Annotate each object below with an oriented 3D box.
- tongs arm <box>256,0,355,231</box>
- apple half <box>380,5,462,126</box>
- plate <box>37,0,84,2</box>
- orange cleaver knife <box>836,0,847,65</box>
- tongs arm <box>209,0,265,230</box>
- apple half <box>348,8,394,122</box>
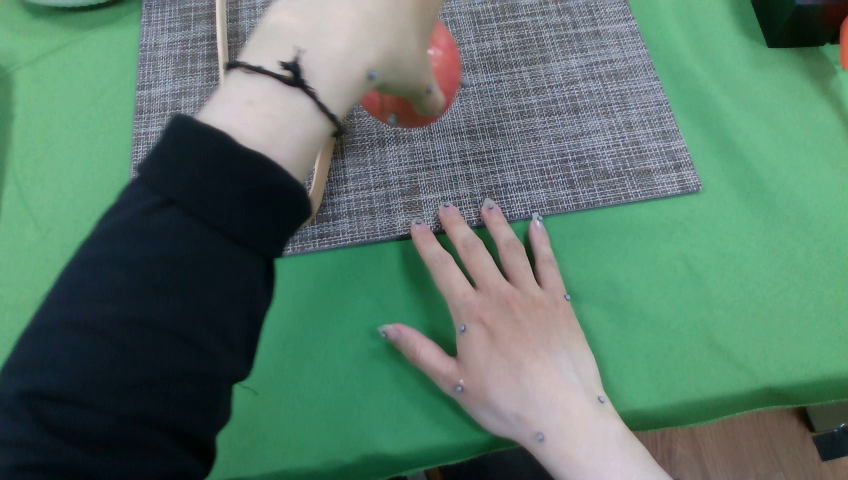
[{"bbox_3d":[-0.090,-0.185,0.535,0.051,0.027,0.382,2,66,2],"label":"tongs arm"},{"bbox_3d":[0.001,-0.122,0.439,0.053,0.075,0.080,6,62,2],"label":"apple half"},{"bbox_3d":[-0.332,-0.308,0.599,0.209,0.038,0.207,0,65,1],"label":"plate"},{"bbox_3d":[0.357,-0.170,0.485,0.012,0.077,0.211,-4,98,0],"label":"orange cleaver knife"},{"bbox_3d":[-0.174,-0.180,0.536,0.028,0.028,0.384,-10,65,-7],"label":"tongs arm"},{"bbox_3d":[-0.038,-0.125,0.441,0.033,0.082,0.080,6,65,2],"label":"apple half"}]
